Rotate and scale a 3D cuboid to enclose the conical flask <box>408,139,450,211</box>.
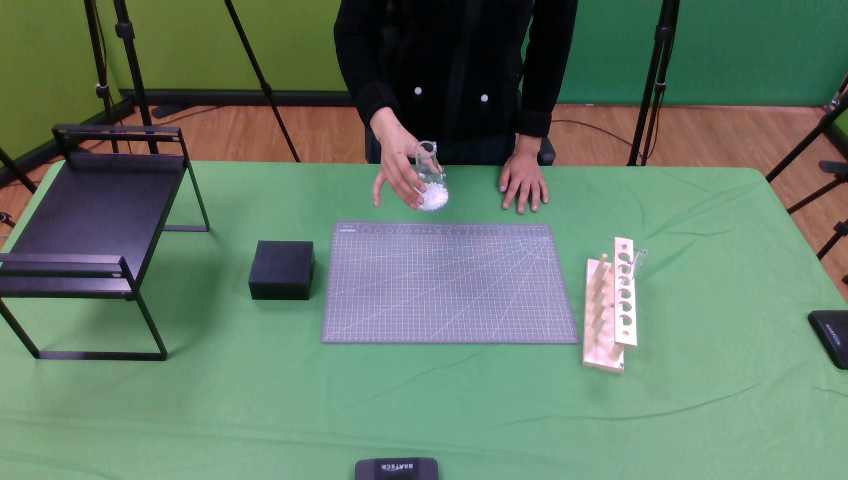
[{"bbox_3d":[0.005,-0.114,1.034,0.075,0.122,0.075,-3,50,3],"label":"conical flask"}]

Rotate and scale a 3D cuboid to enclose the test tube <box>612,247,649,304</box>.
[{"bbox_3d":[0.353,0.065,1.044,0.017,0.151,0.017,3,49,-4],"label":"test tube"}]

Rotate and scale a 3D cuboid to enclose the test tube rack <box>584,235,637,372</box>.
[{"bbox_3d":[0.329,0.103,1.073,0.067,0.085,0.241,11,47,7],"label":"test tube rack"}]
